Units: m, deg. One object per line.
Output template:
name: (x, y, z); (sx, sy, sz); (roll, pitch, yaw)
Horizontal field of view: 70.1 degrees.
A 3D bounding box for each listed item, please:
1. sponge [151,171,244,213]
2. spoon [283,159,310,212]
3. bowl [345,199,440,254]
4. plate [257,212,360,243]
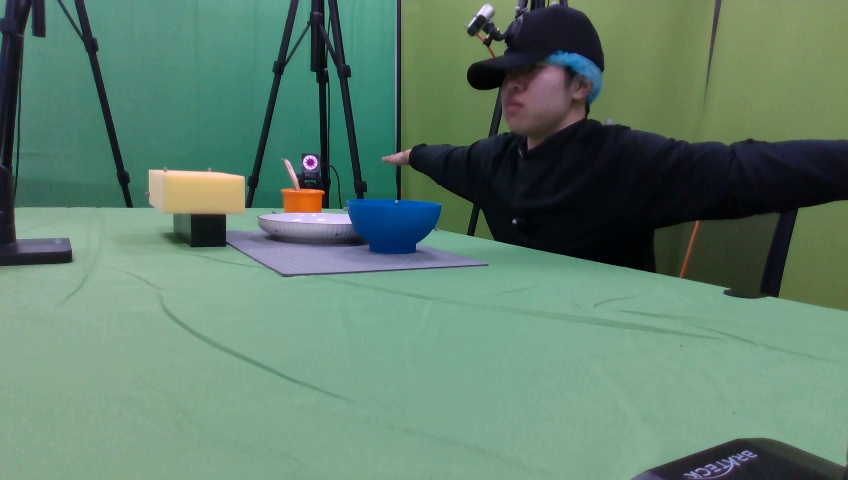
sponge: (-0.383, -0.082, 1.010); (0.119, 0.061, 0.206); (-1, 7, -30)
spoon: (-0.279, -0.111, 1.324); (0.042, 0.193, 0.021); (2, -39, -35)
bowl: (-0.050, -0.022, 0.952); (0.151, 0.077, 0.151); (2, 7, 0)
plate: (-0.189, -0.023, 1.072); (0.209, 0.038, 0.209); (3, 7, 0)
